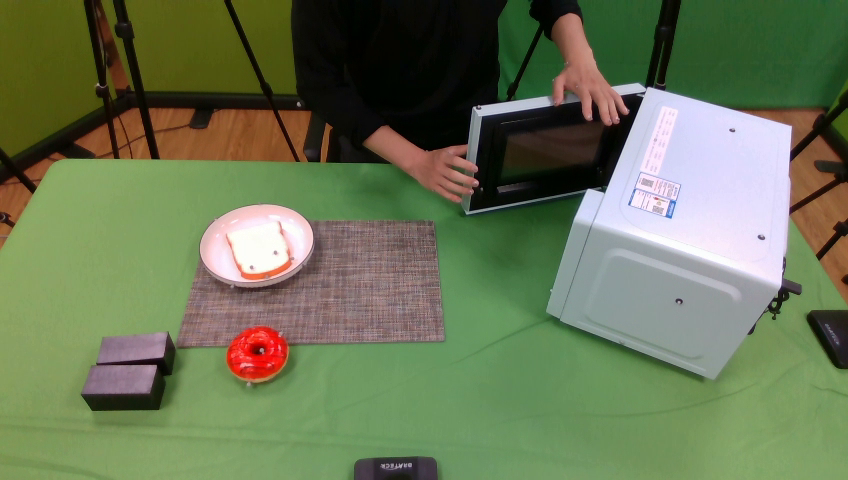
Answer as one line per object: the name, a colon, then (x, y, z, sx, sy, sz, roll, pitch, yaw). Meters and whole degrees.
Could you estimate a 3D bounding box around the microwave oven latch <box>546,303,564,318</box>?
microwave oven latch: (0.242, 0.102, 1.081, 0.030, 0.029, 0.079, 22, 48, 17)

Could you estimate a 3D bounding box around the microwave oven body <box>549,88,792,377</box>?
microwave oven body: (0.456, -0.028, 1.088, 0.325, 0.261, 0.440, 20, 47, 16)

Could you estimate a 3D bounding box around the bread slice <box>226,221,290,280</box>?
bread slice: (-0.308, 0.019, 1.141, 0.105, 0.019, 0.130, -17, 49, -18)

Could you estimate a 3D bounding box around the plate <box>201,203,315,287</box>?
plate: (-0.310, 0.013, 1.145, 0.208, 0.039, 0.206, 2, 46, -2)

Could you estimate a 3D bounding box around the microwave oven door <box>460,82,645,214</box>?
microwave oven door: (0.254, -0.183, 1.215, 0.356, 0.245, 0.039, -12, 48, -15)

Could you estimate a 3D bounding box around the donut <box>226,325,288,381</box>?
donut: (-0.270, 0.182, 0.984, 0.099, 0.048, 0.098, 5, 49, -5)
